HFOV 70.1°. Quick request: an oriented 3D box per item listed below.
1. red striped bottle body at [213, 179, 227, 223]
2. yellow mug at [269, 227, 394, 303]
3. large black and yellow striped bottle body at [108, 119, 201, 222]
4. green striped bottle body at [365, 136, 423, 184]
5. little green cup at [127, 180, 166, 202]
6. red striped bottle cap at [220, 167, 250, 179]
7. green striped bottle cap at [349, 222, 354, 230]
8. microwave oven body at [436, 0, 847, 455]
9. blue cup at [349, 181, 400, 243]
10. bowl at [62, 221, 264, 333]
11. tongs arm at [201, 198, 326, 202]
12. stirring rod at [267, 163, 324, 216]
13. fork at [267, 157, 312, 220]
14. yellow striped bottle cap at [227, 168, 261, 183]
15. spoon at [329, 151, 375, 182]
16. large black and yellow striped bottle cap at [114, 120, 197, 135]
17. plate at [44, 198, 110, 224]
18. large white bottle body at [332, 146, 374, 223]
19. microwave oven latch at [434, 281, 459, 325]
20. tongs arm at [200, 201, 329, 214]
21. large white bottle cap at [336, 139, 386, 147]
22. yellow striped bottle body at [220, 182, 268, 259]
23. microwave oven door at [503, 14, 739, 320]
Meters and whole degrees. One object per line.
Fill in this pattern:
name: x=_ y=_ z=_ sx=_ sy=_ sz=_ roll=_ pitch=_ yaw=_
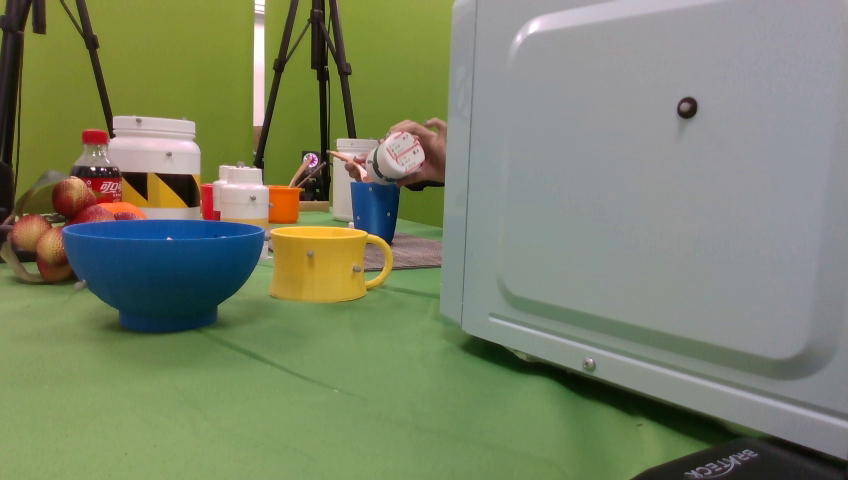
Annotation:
red striped bottle body: x=-0.284 y=-0.048 z=0.910 sx=0.063 sy=0.119 sz=0.063 roll=3 pitch=12 yaw=0
yellow mug: x=-0.094 y=0.023 z=0.629 sx=0.131 sy=0.064 sz=0.099 roll=0 pitch=7 yaw=-22
large black and yellow striped bottle body: x=-0.412 y=-0.088 z=0.930 sx=0.131 sy=0.184 sz=0.130 roll=3 pitch=7 yaw=0
green striped bottle body: x=-0.051 y=-0.121 z=0.933 sx=0.063 sy=0.063 sz=0.119 roll=-1 pitch=0 yaw=-23
little green cup: x=-0.486 y=-0.086 z=1.061 sx=0.061 sy=0.038 sz=0.061 roll=1 pitch=7 yaw=0
red striped bottle cap: x=-0.281 y=-0.100 z=0.901 sx=0.044 sy=0.017 sz=0.044 roll=-1 pitch=5 yaw=0
green striped bottle cap: x=-0.122 y=-0.024 z=1.156 sx=0.044 sy=0.020 sz=0.044 roll=-1 pitch=9 yaw=0
microwave oven body: x=0.279 y=-0.040 z=0.465 sx=0.444 sy=0.260 sz=0.324 roll=-3 pitch=9 yaw=-41
blue cup: x=-0.083 y=-0.047 z=1.010 sx=0.093 sy=0.100 sz=0.092 roll=1 pitch=6 yaw=0
bowl: x=-0.209 y=0.029 z=0.496 sx=0.151 sy=0.077 sz=0.151 roll=2 pitch=6 yaw=0
tongs arm: x=-0.433 y=-0.090 z=1.508 sx=0.390 sy=0.028 sz=0.028 roll=-1 pitch=2 yaw=-29
stirring rod: x=-0.278 y=-0.105 z=1.294 sx=0.176 sy=0.006 sz=0.014 roll=-47 pitch=26 yaw=-18
fork: x=-0.290 y=-0.116 z=1.321 sx=0.028 sy=0.019 sz=0.207 roll=6 pitch=51 yaw=19
yellow striped bottle cap: x=-0.243 y=-0.087 z=0.818 sx=0.044 sy=0.018 sz=0.044 roll=3 pitch=6 yaw=0
spoon: x=-0.120 y=-0.127 z=1.054 sx=0.042 sy=0.021 sz=0.192 roll=-6 pitch=30 yaw=-33
large black and yellow striped bottle cap: x=-0.407 y=-0.171 z=0.920 sx=0.115 sy=0.019 sz=0.115 roll=2 pitch=9 yaw=0
plate: x=-0.617 y=-0.056 z=1.179 sx=0.209 sy=0.038 sz=0.209 roll=3 pitch=7 yaw=0
large white bottle body: x=-0.146 y=-0.136 z=1.388 sx=0.131 sy=0.184 sz=0.130 roll=2 pitch=8 yaw=0
microwave oven latch: x=0.044 y=0.045 z=0.470 sx=0.079 sy=0.029 sz=0.030 roll=-2 pitch=8 yaw=-39
tongs arm: x=-0.378 y=-0.079 z=1.440 sx=0.387 sy=0.026 sz=0.050 roll=-4 pitch=8 yaw=-44
large white bottle cap: x=-0.143 y=-0.219 z=1.375 sx=0.115 sy=0.018 sz=0.115 roll=2 pitch=8 yaw=0
yellow striped bottle body: x=-0.246 y=-0.036 z=0.825 sx=0.063 sy=0.120 sz=0.063 roll=3 pitch=8 yaw=0
microwave oven door: x=0.218 y=-0.065 z=0.600 sx=0.358 sy=0.243 sz=0.039 roll=-4 pitch=10 yaw=-41
